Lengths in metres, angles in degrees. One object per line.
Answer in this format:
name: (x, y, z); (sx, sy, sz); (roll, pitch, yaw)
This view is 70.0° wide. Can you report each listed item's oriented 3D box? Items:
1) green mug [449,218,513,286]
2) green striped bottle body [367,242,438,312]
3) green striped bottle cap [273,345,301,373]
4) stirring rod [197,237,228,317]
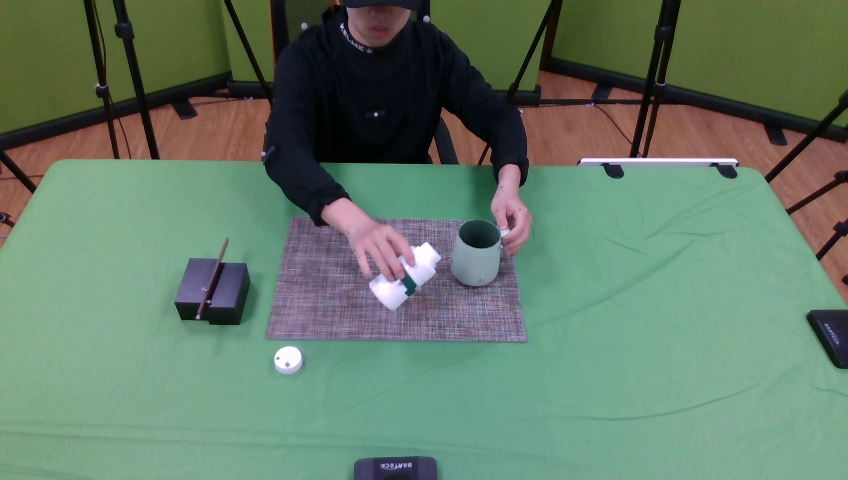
green mug: (0.110, 0.018, 1.126); (0.125, 0.105, 0.092); (-19, 50, -21)
green striped bottle body: (-0.031, 0.057, 1.003); (0.119, 0.063, 0.063); (-44, 56, 5)
green striped bottle cap: (-0.225, 0.195, 0.997); (0.044, 0.020, 0.044); (1, 50, -1)
stirring rod: (-0.363, 0.060, 1.047); (0.006, 0.014, 0.175); (7, 46, -3)
